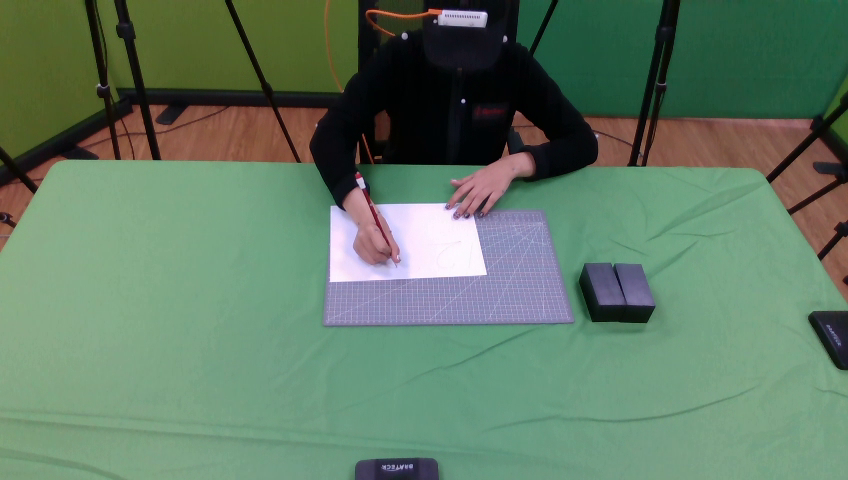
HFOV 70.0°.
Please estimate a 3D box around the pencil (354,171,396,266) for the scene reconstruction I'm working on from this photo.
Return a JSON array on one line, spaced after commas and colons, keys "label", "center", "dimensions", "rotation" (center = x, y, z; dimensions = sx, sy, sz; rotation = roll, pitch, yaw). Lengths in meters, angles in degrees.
[{"label": "pencil", "center": [-0.089, -0.037, 1.128], "dimensions": [0.012, 0.194, 0.012], "rotation": [-20, 16, 6]}]
